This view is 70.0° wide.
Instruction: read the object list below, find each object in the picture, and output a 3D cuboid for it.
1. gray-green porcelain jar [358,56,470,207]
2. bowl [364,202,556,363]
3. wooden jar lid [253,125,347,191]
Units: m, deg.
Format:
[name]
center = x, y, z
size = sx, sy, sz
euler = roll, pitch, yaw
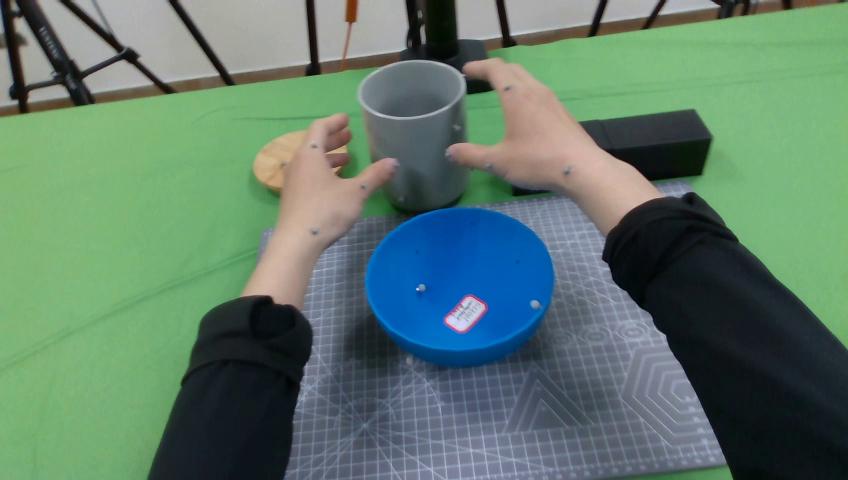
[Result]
[gray-green porcelain jar]
center = -0.006, -0.106, 0.622
size = 0.106, 0.128, 0.105
euler = -3, 46, 4
[bowl]
center = 0.030, 0.047, 0.502
size = 0.151, 0.077, 0.150
euler = -3, 46, 3
[wooden jar lid]
center = -0.142, -0.094, 0.700
size = 0.108, 0.021, 0.107
euler = -2, 47, 2
